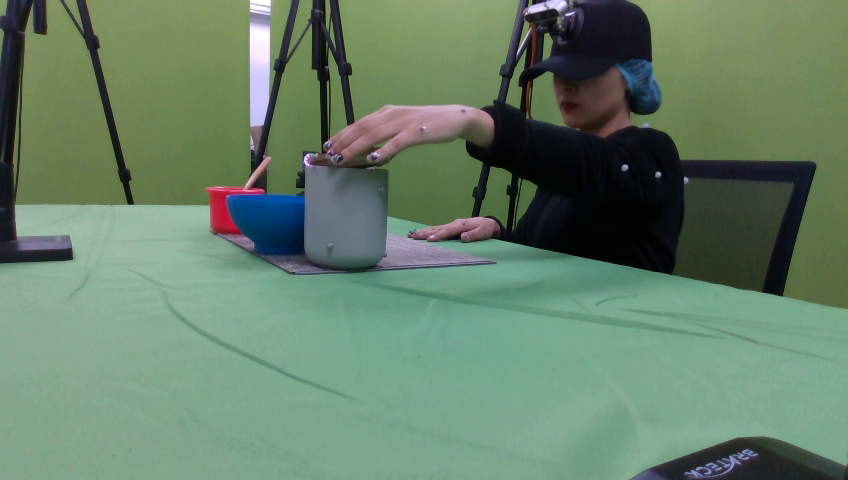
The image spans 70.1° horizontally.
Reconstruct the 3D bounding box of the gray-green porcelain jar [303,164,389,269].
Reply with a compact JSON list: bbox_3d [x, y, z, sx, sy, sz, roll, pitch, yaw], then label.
[{"bbox_3d":[-0.099,-0.031,0.770,0.106,0.126,0.106,2,7,0],"label":"gray-green porcelain jar"}]

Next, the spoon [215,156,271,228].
[{"bbox_3d":[-0.319,-0.090,1.091,0.041,0.022,0.193,7,52,17],"label":"spoon"}]

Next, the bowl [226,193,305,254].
[{"bbox_3d":[-0.205,-0.024,0.866,0.151,0.077,0.151,3,7,0],"label":"bowl"}]

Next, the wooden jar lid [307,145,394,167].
[{"bbox_3d":[-0.091,-0.102,0.758,0.108,0.020,0.108,-8,5,1],"label":"wooden jar lid"}]
